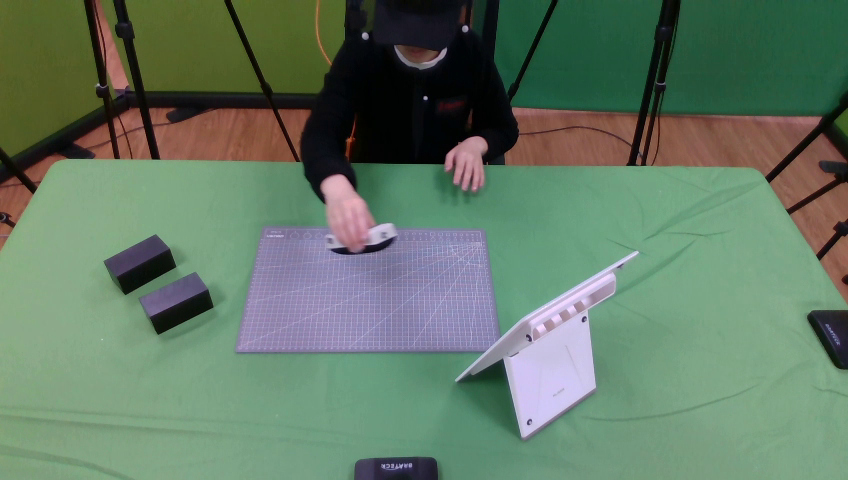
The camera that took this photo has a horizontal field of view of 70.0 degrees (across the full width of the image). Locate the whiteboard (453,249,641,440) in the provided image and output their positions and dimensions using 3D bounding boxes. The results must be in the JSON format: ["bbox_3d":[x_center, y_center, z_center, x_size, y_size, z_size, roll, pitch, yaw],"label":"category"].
[{"bbox_3d":[0.206,0.174,0.890,0.217,0.306,0.143,-24,72,-25],"label":"whiteboard"}]

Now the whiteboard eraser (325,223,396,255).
[{"bbox_3d":[-0.102,-0.001,0.970,0.112,0.042,0.055,-4,16,39],"label":"whiteboard eraser"}]
